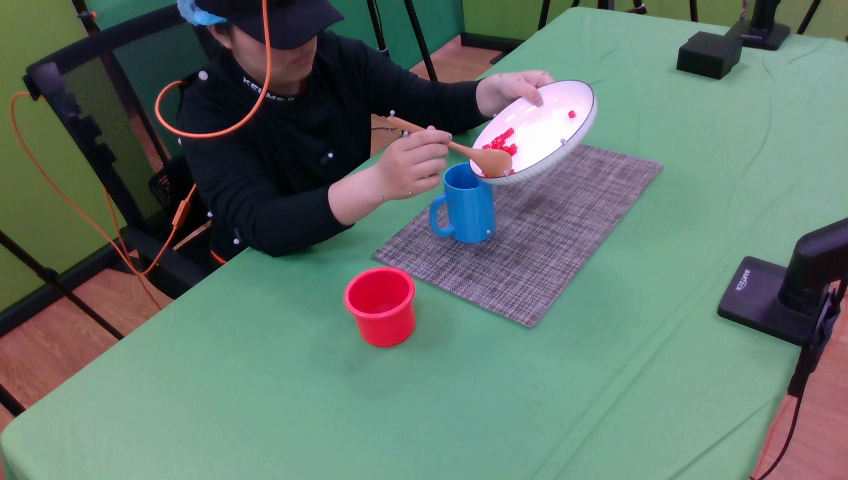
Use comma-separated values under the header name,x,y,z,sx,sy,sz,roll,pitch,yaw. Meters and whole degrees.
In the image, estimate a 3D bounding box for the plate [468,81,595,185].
name,x,y,z,sx,sy,sz,roll,pitch,yaw
plate,0.162,-0.154,0.905,0.207,0.039,0.206,-28,32,21

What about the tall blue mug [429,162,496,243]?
name,x,y,z,sx,sy,sz,roll,pitch,yaw
tall blue mug,0.067,-0.051,0.960,0.077,0.108,0.107,17,47,27

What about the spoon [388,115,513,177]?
name,x,y,z,sx,sy,sz,roll,pitch,yaw
spoon,0.039,-0.132,0.835,0.195,0.041,0.021,19,19,-14
